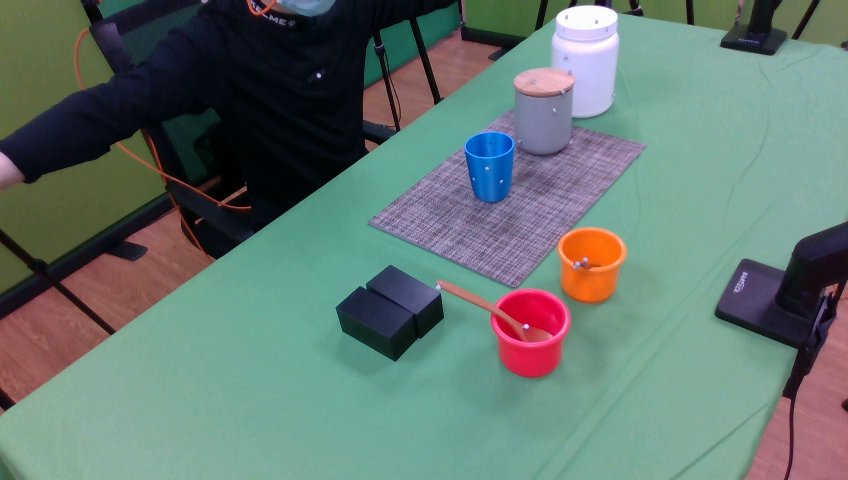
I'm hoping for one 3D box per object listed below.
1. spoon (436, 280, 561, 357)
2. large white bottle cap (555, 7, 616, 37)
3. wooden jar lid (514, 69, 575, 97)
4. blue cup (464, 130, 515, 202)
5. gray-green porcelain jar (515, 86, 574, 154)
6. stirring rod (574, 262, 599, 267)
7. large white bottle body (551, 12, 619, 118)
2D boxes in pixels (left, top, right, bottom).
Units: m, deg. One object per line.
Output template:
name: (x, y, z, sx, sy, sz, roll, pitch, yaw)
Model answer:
spoon: (0.096, 0.095, 0.757, 0.195, 0.021, 0.041, 34, 42, -20)
large white bottle cap: (0.311, -0.420, 1.163, 0.115, 0.018, 0.114, -4, 40, 4)
wooden jar lid: (0.216, -0.279, 1.087, 0.108, 0.021, 0.108, -3, 38, 3)
blue cup: (0.114, -0.122, 1.035, 0.092, 0.100, 0.092, -4, 40, 4)
gray-green porcelain jar: (0.223, -0.233, 1.129, 0.106, 0.127, 0.105, -4, 40, 4)
stirring rod: (0.221, 0.033, 0.816, 0.014, 0.006, 0.177, 9, 1, 22)
large white bottle body: (0.321, -0.356, 1.218, 0.130, 0.185, 0.130, -4, 41, 4)
